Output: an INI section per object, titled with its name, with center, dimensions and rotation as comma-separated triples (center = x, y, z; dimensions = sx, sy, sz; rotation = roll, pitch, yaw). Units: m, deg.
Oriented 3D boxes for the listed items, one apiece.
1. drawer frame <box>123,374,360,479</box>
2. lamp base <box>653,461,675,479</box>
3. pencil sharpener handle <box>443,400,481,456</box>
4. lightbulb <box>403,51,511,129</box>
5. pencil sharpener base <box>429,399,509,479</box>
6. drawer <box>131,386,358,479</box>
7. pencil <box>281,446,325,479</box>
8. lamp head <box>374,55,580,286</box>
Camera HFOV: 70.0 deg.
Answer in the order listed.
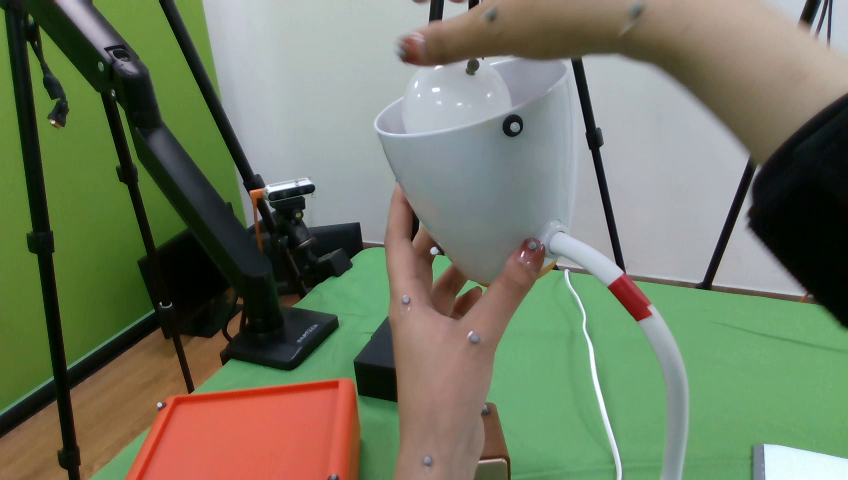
[drawer frame]
center = -0.165, 0.226, 0.553
dimensions = 0.202, 0.083, 0.212
rotation = -6, 24, -2
[lamp base]
center = 0.151, 0.238, 0.356
dimensions = 0.161, 0.181, 0.177
rotation = -8, 22, -5
[pencil sharpener handle]
center = 0.034, 0.172, 0.577
dimensions = 0.036, 0.068, 0.030
rotation = 0, 25, -4
[lightbulb]
center = 0.028, -0.054, 0.344
dimensions = 0.059, 0.109, 0.059
rotation = -20, 32, 14
[pencil sharpener base]
center = 0.039, 0.204, 0.537
dimensions = 0.061, 0.108, 0.076
rotation = -5, 25, -1
[drawer]
center = -0.164, 0.228, 0.551
dimensions = 0.194, 0.074, 0.210
rotation = -6, 24, -1
[pencil]
center = -0.161, 0.245, 0.524
dimensions = 0.194, 0.012, 0.012
rotation = -37, 38, -30
[lamp head]
center = 0.043, -0.034, 0.354
dimensions = 0.112, 0.124, 0.111
rotation = -18, 22, 8
